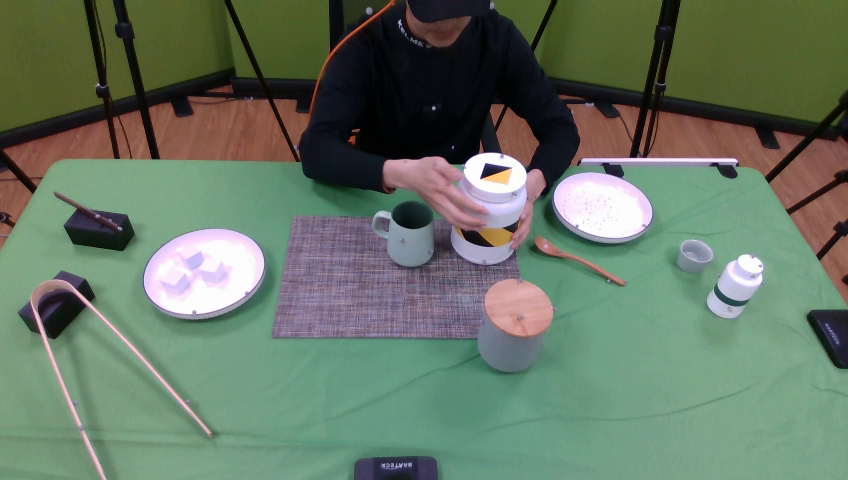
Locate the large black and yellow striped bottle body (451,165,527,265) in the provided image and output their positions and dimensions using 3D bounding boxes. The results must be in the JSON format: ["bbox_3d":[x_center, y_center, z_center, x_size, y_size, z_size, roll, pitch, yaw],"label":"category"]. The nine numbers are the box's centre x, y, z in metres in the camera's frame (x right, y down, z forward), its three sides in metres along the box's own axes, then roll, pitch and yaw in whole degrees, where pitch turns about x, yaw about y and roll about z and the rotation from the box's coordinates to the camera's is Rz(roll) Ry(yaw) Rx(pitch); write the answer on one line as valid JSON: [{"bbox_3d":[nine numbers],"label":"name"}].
[{"bbox_3d":[0.122,-0.058,1.141,0.131,0.185,0.130,2,46,-2],"label":"large black and yellow striped bottle body"}]

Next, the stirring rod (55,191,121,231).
[{"bbox_3d":[-0.632,-0.055,1.138,0.175,0.014,0.006,24,50,19],"label":"stirring rod"}]

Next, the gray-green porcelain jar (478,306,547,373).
[{"bbox_3d":[0.144,0.148,0.989,0.106,0.127,0.105,2,50,-2],"label":"gray-green porcelain jar"}]

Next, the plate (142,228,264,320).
[{"bbox_3d":[-0.394,0.064,1.095,0.208,0.039,0.206,2,46,-2],"label":"plate"}]

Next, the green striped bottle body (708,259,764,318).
[{"bbox_3d":[0.563,0.081,1.089,0.063,0.120,0.063,2,46,-2],"label":"green striped bottle body"}]

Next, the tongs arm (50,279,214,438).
[{"bbox_3d":[-0.459,0.178,0.949,0.386,0.028,0.028,37,60,17],"label":"tongs arm"}]

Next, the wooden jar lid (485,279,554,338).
[{"bbox_3d":[0.147,0.108,0.940,0.108,0.021,0.107,4,47,-4],"label":"wooden jar lid"}]

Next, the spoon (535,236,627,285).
[{"bbox_3d":[0.304,0.040,1.178,0.193,0.022,0.041,25,35,19],"label":"spoon"}]

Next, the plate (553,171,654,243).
[{"bbox_3d":[0.373,-0.066,1.274,0.209,0.038,0.208,2,46,-2],"label":"plate"}]

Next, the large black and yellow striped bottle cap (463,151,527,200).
[{"bbox_3d":[0.128,-0.117,1.083,0.115,0.019,0.114,2,48,-2],"label":"large black and yellow striped bottle cap"}]

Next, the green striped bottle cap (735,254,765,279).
[{"bbox_3d":[0.566,0.046,1.051,0.044,0.020,0.044,1,45,0],"label":"green striped bottle cap"}]

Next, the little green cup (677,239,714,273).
[{"bbox_3d":[0.530,0.033,1.189,0.061,0.039,0.061,2,47,-2],"label":"little green cup"}]

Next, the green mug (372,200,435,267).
[{"bbox_3d":[-0.040,-0.015,1.146,0.125,0.105,0.092,16,48,12],"label":"green mug"}]

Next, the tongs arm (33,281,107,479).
[{"bbox_3d":[-0.517,0.214,0.909,0.051,0.026,0.383,-29,63,-27],"label":"tongs arm"}]
